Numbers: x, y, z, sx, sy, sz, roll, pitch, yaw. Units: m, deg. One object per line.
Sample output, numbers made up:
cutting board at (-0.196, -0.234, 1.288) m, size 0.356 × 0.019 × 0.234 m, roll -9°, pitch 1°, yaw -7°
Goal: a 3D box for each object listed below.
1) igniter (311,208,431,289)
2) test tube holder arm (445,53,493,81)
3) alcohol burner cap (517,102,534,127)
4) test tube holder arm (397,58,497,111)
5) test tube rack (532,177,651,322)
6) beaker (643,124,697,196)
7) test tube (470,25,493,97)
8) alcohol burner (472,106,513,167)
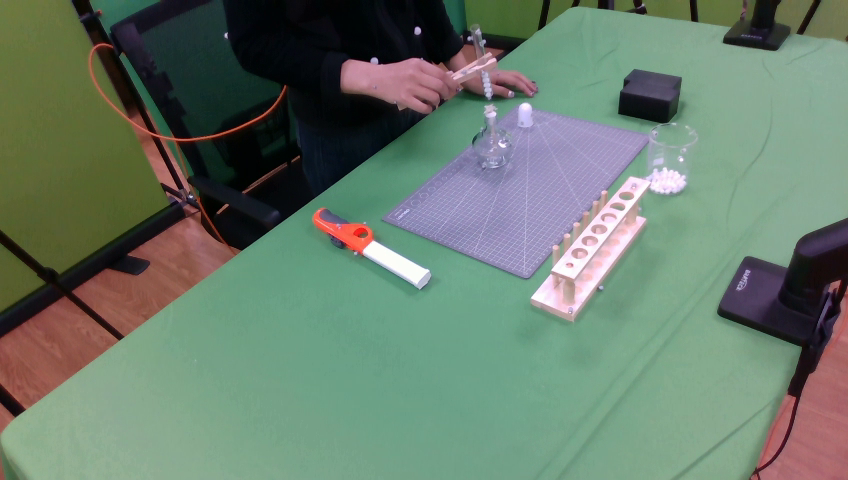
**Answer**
igniter at (-0.096, 0.008, 0.986) m, size 0.274 × 0.025 × 0.057 m, roll 28°, pitch 62°, yaw 36°
test tube holder arm at (0.075, -0.282, 1.003) m, size 0.088 × 0.015 × 0.010 m, roll -32°, pitch 53°, yaw -5°
alcohol burner cap at (0.205, -0.255, 1.223) m, size 0.034 × 0.048 × 0.033 m, roll -6°, pitch 40°, yaw 6°
test tube holder arm at (0.038, -0.257, 0.998) m, size 0.178 × 0.015 × 0.013 m, roll -26°, pitch 52°, yaw -1°
test tube rack at (0.247, 0.002, 0.883) m, size 0.066 × 0.085 × 0.243 m, roll 22°, pitch 49°, yaw 32°
beaker at (0.407, -0.132, 1.001) m, size 0.084 × 0.101 × 0.073 m, roll -20°, pitch 42°, yaw -13°
test tube at (0.097, -0.292, 0.998) m, size 0.017 × 0.151 × 0.017 m, roll -7°, pitch 58°, yaw 12°
alcohol burner at (0.125, -0.195, 1.111) m, size 0.078 × 0.119 × 0.077 m, roll -5°, pitch 42°, yaw 5°
